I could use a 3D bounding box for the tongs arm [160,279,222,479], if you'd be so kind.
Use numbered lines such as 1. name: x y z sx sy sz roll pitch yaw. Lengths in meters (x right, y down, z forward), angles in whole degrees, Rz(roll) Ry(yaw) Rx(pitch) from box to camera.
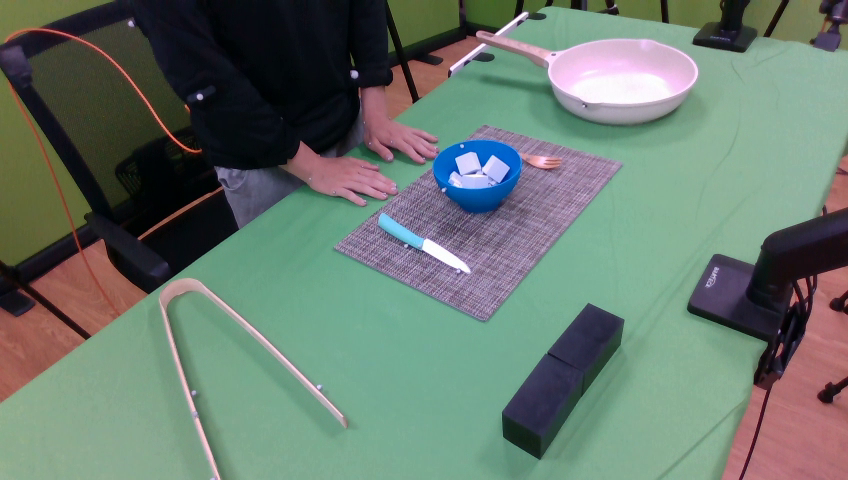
1. tongs arm: -0.297 0.174 0.797 0.051 0.026 0.381 -25 43 -21

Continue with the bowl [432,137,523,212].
1. bowl: 0.091 -0.100 1.022 0.151 0.077 0.150 -4 41 4

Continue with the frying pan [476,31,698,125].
1. frying pan: 0.321 -0.371 1.290 0.484 0.103 0.307 29 51 23

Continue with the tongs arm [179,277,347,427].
1. tongs arm: -0.231 0.140 0.832 0.384 0.028 0.028 30 56 35

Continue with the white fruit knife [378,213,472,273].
1. white fruit knife: -0.004 0.006 0.961 0.205 0.016 0.027 29 62 34

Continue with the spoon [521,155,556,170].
1. spoon: 0.156 -0.161 1.126 0.192 0.022 0.042 25 35 29
